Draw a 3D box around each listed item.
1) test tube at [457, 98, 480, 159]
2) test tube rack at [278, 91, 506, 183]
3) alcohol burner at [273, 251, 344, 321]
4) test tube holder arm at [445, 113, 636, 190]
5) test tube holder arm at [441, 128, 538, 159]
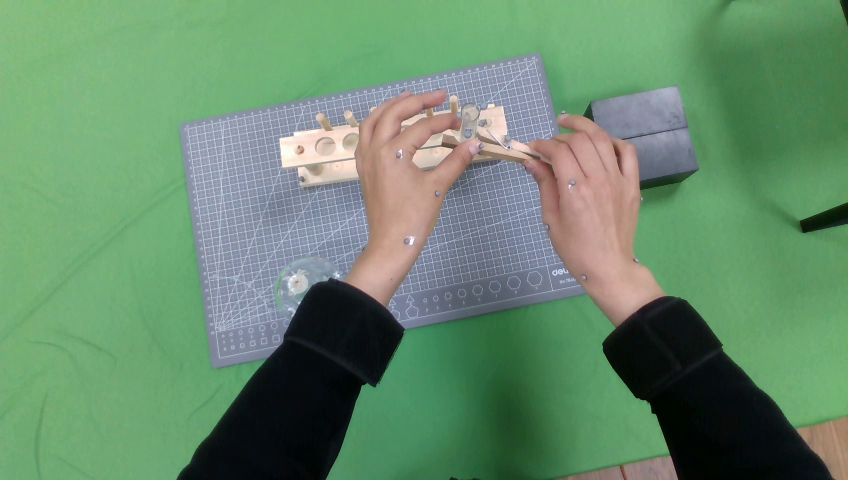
[{"bbox_3d":[0.038,-0.095,0.539,0.017,0.150,0.017,0,85,2],"label":"test tube"},{"bbox_3d":[-0.035,-0.124,0.687,0.242,0.085,0.066,-8,81,0],"label":"test tube rack"},{"bbox_3d":[-0.127,0.047,0.649,0.078,0.119,0.077,0,79,0],"label":"alcohol burner"},{"bbox_3d":[0.103,-0.079,0.540,0.178,0.015,0.013,19,92,2],"label":"test tube holder arm"},{"bbox_3d":[0.059,-0.086,0.541,0.088,0.015,0.010,12,91,2],"label":"test tube holder arm"}]
